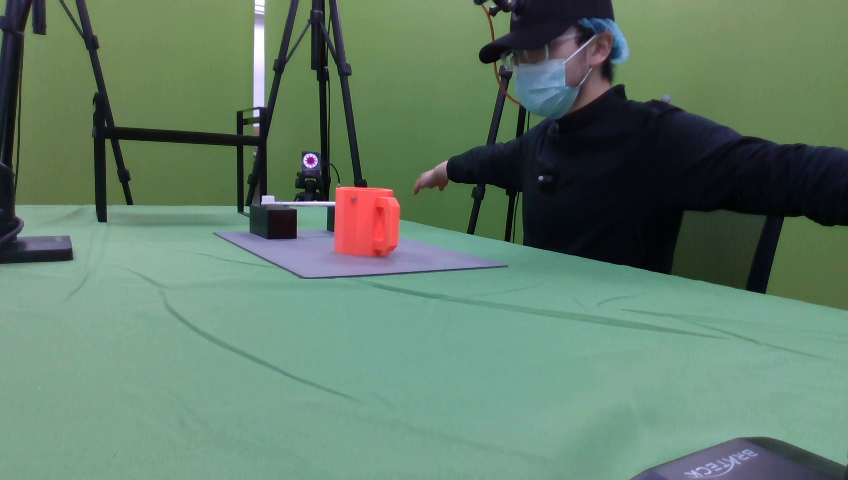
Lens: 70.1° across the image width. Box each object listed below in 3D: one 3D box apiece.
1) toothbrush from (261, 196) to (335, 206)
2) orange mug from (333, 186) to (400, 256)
[{"bbox_3d":[-0.200,-0.068,1.073,0.183,0.016,0.014,-1,-7,-34],"label":"toothbrush"},{"bbox_3d":[-0.080,-0.029,0.888,0.084,0.100,0.125,-3,5,-40],"label":"orange mug"}]
